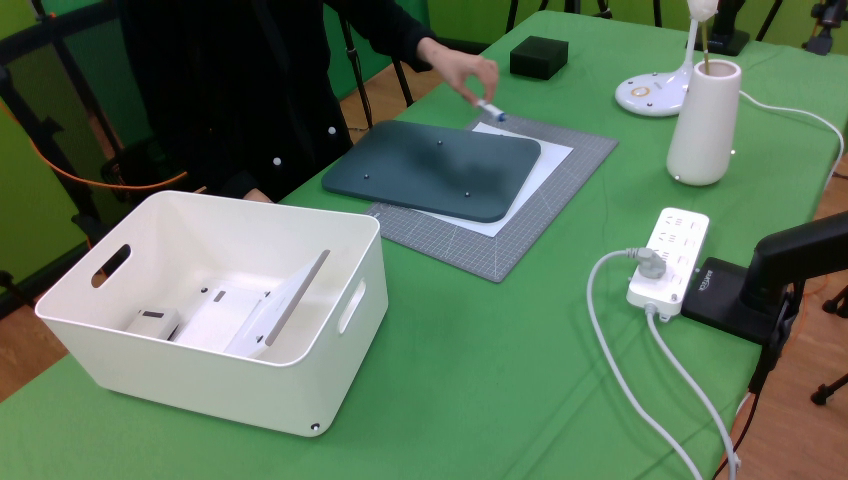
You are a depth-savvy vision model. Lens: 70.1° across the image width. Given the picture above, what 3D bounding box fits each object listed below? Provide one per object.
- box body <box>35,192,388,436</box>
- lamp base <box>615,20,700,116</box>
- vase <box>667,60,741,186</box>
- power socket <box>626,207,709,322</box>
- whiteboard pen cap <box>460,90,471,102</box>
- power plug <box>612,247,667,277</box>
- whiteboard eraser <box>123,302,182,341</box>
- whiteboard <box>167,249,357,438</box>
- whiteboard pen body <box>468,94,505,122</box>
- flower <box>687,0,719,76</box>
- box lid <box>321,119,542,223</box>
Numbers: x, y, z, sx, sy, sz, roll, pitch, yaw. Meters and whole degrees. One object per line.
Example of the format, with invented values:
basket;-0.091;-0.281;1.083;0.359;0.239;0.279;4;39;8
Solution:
box body;-0.251;0.088;0.800;0.362;0.161;0.254;7;42;16
lamp base;0.484;-0.364;1.211;0.180;0.181;0.159;-15;41;-14
vase;0.463;-0.189;0.994;0.098;0.201;0.097;-4;40;4
power socket;0.360;0.026;0.886;0.072;0.033;0.227;17;46;27
whiteboard pen cap;0.081;-0.264;1.115;0.018;0.018;0.033;-19;37;-14
power plug;0.306;0.031;0.852;0.072;0.053;0.035;21;48;38
whiteboard eraser;-0.385;0.138;0.828;0.055;0.042;0.112;12;41;7
whiteboard;-0.242;0.100;0.799;0.304;0.144;0.217;8;43;15
whiteboard pen body;0.104;-0.238;1.069;0.017;0.017;0.139;-20;36;-14
flower;0.436;-0.242;0.934;0.038;0.364;0.043;-24;49;9
box lid;0.017;-0.141;1.146;0.369;0.015;0.263;12;44;22
